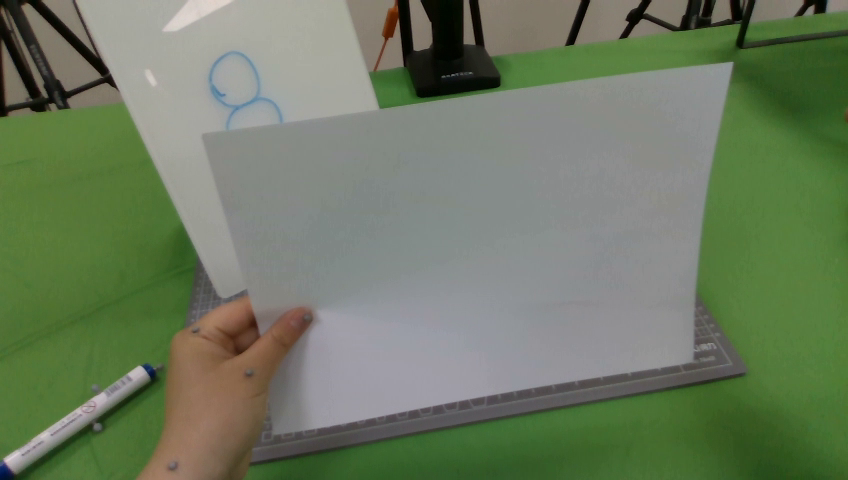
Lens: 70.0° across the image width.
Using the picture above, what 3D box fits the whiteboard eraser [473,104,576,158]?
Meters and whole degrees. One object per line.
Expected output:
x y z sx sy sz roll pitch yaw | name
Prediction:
0.118 -0.127 0.712 0.113 0.042 0.055 -10 44 -9 | whiteboard eraser

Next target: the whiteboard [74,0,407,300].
-0.180 -0.139 0.594 0.217 0.308 0.142 -29 27 -25 | whiteboard

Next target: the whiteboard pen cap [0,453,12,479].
-0.307 0.165 0.424 0.018 0.018 0.033 27 49 30 | whiteboard pen cap

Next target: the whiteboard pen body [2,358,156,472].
-0.268 0.136 0.457 0.017 0.017 0.140 28 49 30 | whiteboard pen body
